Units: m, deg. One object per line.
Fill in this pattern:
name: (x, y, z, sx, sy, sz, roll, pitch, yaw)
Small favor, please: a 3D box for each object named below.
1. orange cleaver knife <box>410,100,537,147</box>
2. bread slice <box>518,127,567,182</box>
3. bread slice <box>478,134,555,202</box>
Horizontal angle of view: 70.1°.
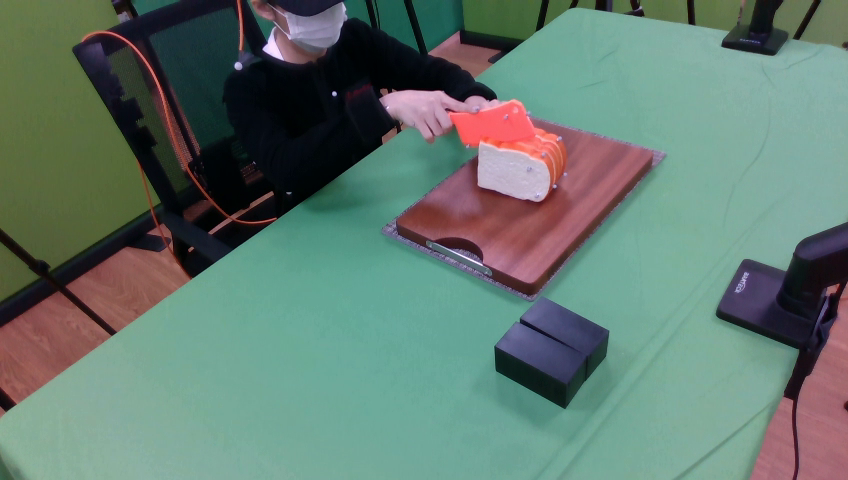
orange cleaver knife: (0.076, -0.181, 0.965, 0.210, 0.077, 0.012, 2, 41, 30)
bread slice: (0.172, -0.143, 1.012, 0.133, 0.107, 0.018, 20, 52, 19)
bread slice: (0.148, -0.113, 0.978, 0.131, 0.105, 0.019, 21, 49, 22)
